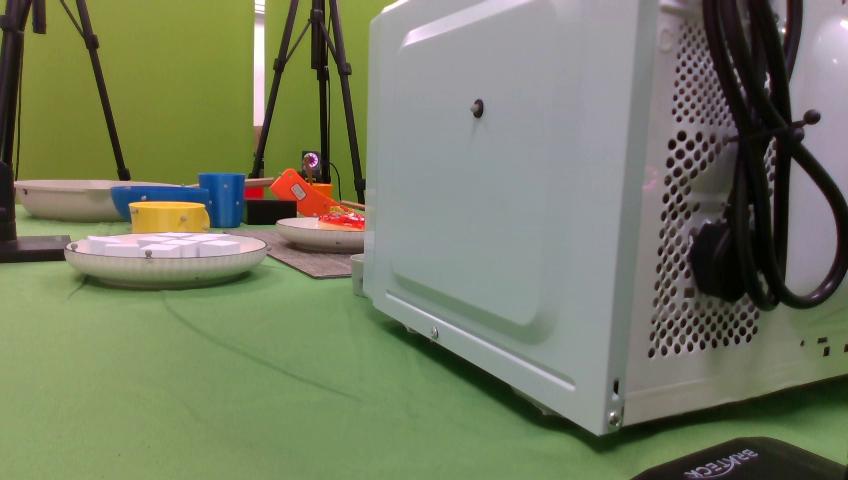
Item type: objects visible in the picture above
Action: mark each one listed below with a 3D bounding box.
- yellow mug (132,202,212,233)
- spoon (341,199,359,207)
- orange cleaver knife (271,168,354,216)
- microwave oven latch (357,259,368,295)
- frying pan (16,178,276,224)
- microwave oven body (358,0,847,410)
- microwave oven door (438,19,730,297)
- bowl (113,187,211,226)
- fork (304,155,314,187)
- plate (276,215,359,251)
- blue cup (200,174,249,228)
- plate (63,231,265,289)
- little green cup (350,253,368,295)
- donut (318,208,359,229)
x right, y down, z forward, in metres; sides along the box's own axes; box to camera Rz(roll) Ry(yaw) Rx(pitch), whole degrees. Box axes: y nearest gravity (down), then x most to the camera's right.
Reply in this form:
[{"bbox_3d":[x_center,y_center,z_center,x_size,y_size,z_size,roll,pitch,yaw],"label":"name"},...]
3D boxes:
[{"bbox_3d":[-0.356,-0.020,0.878,0.099,0.064,0.131,5,7,22],"label":"yellow mug"},{"bbox_3d":[-0.088,-0.059,1.267,0.193,0.021,0.042,20,22,15],"label":"spoon"},{"bbox_3d":[-0.237,-0.084,1.333,0.212,0.077,0.012,31,-9,-31],"label":"orange cleaver knife"},{"bbox_3d":[-0.019,0.031,0.529,0.079,0.029,0.030,-1,7,-26],"label":"microwave oven latch"},{"bbox_3d":[-0.554,-0.097,1.266,0.490,0.102,0.305,-10,13,-24],"label":"frying pan"},{"bbox_3d":[0.210,-0.051,0.471,0.444,0.260,0.324,-1,7,-28],"label":"microwave oven body"},{"bbox_3d":[0.181,-0.076,0.618,0.358,0.243,0.039,-2,8,-28],"label":"microwave oven door"},{"bbox_3d":[-0.436,-0.046,1.013,0.151,0.077,0.151,2,7,0],"label":"bowl"},{"bbox_3d":[-0.268,-0.134,1.446,0.028,0.018,0.207,1,-36,-1],"label":"fork"},{"bbox_3d":[-0.126,-0.012,0.950,0.209,0.038,0.209,2,7,0],"label":"plate"},{"bbox_3d":[-0.380,-0.076,1.155,0.093,0.100,0.092,0,8,0],"label":"blue cup"},{"bbox_3d":[-0.288,0.021,0.687,0.208,0.039,0.207,2,8,0],"label":"plate"},{"bbox_3d":[-0.048,0.035,0.632,0.061,0.038,0.061,3,6,0],"label":"little green cup"},{"bbox_3d":[-0.118,-0.023,0.954,0.099,0.048,0.099,6,6,0],"label":"donut"}]
